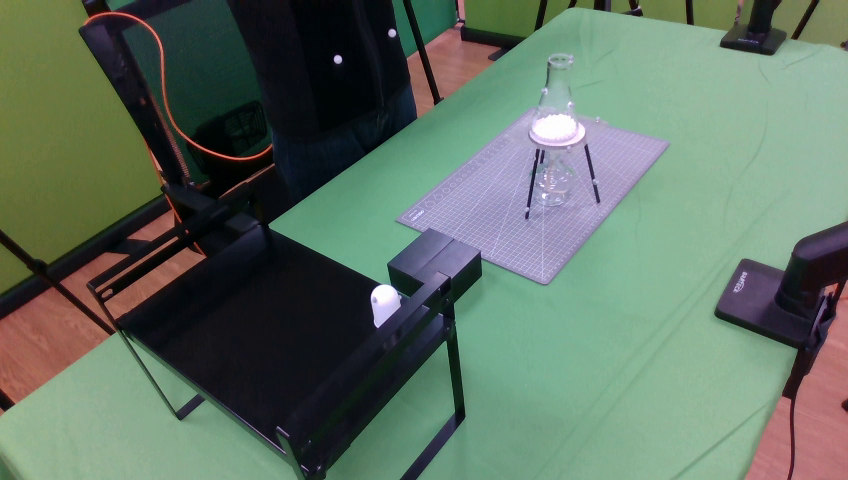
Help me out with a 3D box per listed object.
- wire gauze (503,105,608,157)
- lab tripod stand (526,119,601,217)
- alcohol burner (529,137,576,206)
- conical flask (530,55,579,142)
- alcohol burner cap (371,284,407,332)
[{"bbox_3d":[0.208,-0.172,0.954,0.120,0.011,0.125,22,50,32],"label":"wire gauze"},{"bbox_3d":[0.220,-0.122,0.995,0.148,0.132,0.147,-3,39,3],"label":"lab tripod stand"},{"bbox_3d":[0.214,-0.117,1.005,0.078,0.119,0.077,-4,38,4],"label":"alcohol burner"},{"bbox_3d":[0.200,-0.216,0.914,0.075,0.122,0.075,-3,41,3],"label":"conical flask"},{"bbox_3d":[-0.037,0.066,0.608,0.034,0.048,0.033,-5,40,5],"label":"alcohol burner cap"}]
